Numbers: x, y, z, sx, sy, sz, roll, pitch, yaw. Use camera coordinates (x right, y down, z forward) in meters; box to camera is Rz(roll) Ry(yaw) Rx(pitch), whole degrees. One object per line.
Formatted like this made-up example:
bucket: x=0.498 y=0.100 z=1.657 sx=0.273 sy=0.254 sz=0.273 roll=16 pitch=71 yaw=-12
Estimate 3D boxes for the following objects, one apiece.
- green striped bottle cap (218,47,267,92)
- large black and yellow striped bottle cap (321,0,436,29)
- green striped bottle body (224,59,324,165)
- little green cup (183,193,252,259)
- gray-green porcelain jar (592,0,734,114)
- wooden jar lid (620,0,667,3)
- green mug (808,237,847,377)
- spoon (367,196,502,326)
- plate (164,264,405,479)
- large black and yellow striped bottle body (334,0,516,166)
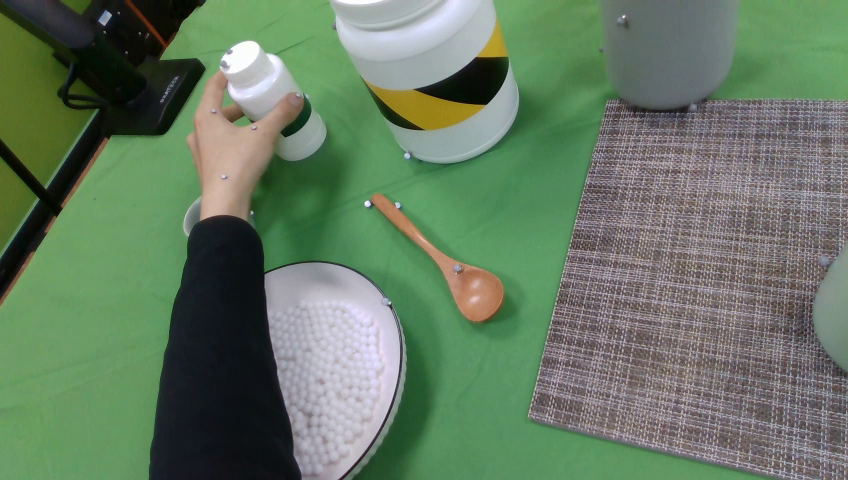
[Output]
green striped bottle cap: x=-0.174 y=-0.164 z=0.580 sx=0.044 sy=0.020 sz=0.044 roll=-8 pitch=58 yaw=13
large black and yellow striped bottle cap: x=-0.028 y=-0.210 z=0.471 sx=0.115 sy=0.019 sz=0.114 roll=-10 pitch=55 yaw=15
green striped bottle body: x=-0.157 y=-0.136 z=0.621 sx=0.063 sy=0.120 sz=0.062 roll=-11 pitch=55 yaw=16
little green cup: x=-0.207 y=-0.012 z=0.613 sx=0.061 sy=0.039 sz=0.061 roll=-10 pitch=55 yaw=15
gray-green porcelain jar: x=0.196 y=-0.178 z=0.499 sx=0.105 sy=0.128 sz=0.105 roll=-10 pitch=52 yaw=14
wooden jar lid: x=0.177 y=-0.214 z=0.451 sx=0.108 sy=0.021 sz=0.107 roll=-13 pitch=53 yaw=17
green mug: x=0.292 y=0.036 z=0.335 sx=0.124 sy=0.106 sz=0.092 roll=16 pitch=66 yaw=29
spoon: x=0.002 y=0.008 z=0.526 sx=0.041 sy=0.022 sz=0.191 roll=-53 pitch=54 yaw=7
plate: x=-0.109 y=0.118 z=0.491 sx=0.209 sy=0.038 sz=0.207 roll=-10 pitch=56 yaw=15
large black and yellow striped bottle body: x=0.001 y=-0.168 z=0.538 sx=0.130 sy=0.186 sz=0.129 roll=-10 pitch=56 yaw=16
